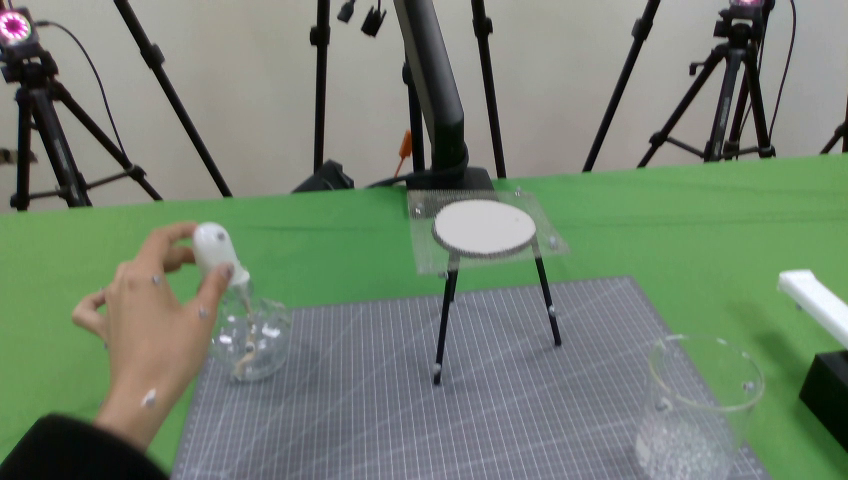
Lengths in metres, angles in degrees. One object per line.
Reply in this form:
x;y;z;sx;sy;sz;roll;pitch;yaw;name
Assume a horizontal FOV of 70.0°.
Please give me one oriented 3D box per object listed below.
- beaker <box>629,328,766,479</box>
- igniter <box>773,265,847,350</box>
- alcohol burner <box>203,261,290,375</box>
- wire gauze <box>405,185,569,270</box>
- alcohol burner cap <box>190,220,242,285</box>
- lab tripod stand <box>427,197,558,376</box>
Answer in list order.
0.190;0.124;0.442;0.074;0.101;0.083;-15;35;-19;beaker
0.356;0.098;0.458;0.057;0.025;0.274;-4;30;-2;igniter
-0.161;0.063;0.543;0.078;0.120;0.077;0;35;1;alcohol burner
0.047;-0.017;0.512;0.121;0.011;0.124;-4;33;-5;wire gauze
-0.159;0.007;0.459;0.034;0.048;0.033;-2;33;2;alcohol burner cap
0.054;0.037;0.553;0.148;0.132;0.147;0;32;1;lab tripod stand
